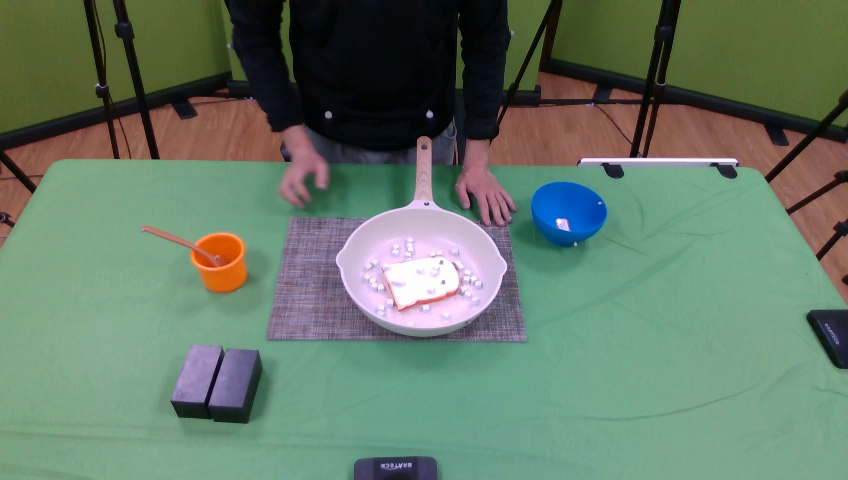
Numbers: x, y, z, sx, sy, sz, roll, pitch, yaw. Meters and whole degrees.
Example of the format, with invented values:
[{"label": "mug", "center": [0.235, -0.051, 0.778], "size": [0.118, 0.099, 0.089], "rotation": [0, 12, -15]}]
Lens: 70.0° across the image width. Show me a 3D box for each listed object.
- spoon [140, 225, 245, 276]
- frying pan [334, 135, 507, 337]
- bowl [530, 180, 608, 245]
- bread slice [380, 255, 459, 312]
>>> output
[{"label": "spoon", "center": [-0.402, 0.017, 1.063], "size": [0.021, 0.195, 0.041], "rotation": [-38, 40, 21]}, {"label": "frying pan", "center": [-0.004, -0.026, 1.160], "size": [0.307, 0.103, 0.485], "rotation": [4, 55, -2]}, {"label": "bowl", "center": [0.284, -0.044, 1.222], "size": [0.151, 0.077, 0.150], "rotation": [2, 46, -2]}, {"label": "bread slice", "center": [-0.005, 0.075, 1.119], "size": [0.134, 0.018, 0.106], "rotation": [-16, 49, -16]}]
